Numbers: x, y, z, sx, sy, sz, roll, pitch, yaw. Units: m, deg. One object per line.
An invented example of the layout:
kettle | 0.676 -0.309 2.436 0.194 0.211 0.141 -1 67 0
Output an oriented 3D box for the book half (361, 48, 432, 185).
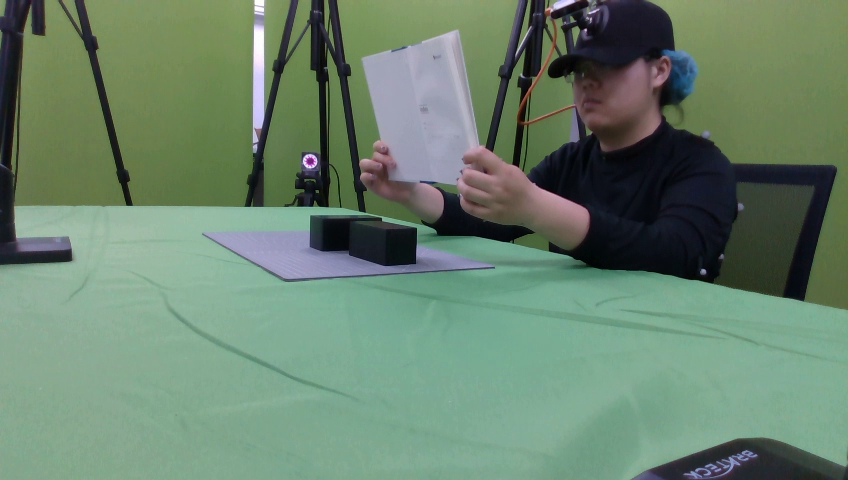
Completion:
book half | -0.045 -0.193 0.974 0.007 0.210 0.142 -21 19 -28

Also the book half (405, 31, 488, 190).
book half | 0.030 -0.176 0.855 0.016 0.210 0.148 -19 17 -22
